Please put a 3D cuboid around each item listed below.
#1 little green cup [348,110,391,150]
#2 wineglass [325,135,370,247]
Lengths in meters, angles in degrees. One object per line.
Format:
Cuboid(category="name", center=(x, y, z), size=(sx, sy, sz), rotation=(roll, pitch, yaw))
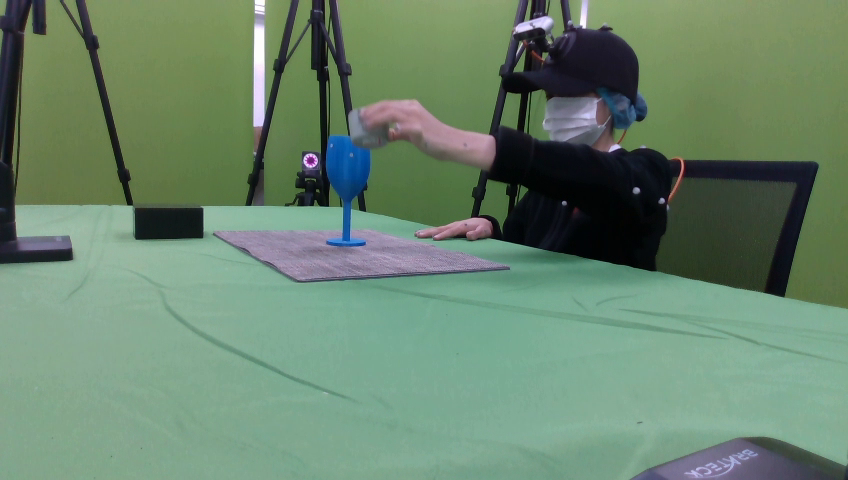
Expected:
Cuboid(category="little green cup", center=(-0.077, -0.154, 0.856), size=(0.061, 0.038, 0.061), rotation=(-3, -11, 0))
Cuboid(category="wineglass", center=(-0.123, -0.078, 0.965), size=(0.074, 0.172, 0.073), rotation=(3, 7, 0))
